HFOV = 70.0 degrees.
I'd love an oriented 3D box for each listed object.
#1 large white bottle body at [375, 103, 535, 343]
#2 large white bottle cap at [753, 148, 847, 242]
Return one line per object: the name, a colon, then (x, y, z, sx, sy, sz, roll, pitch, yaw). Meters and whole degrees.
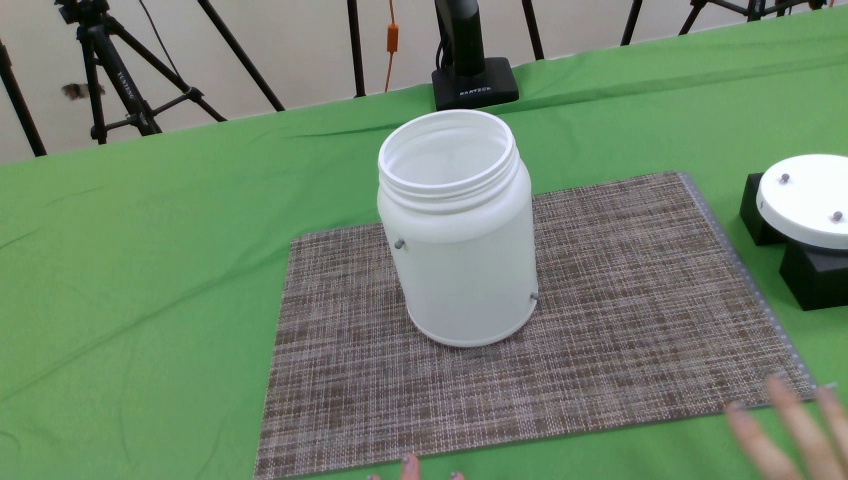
large white bottle body: (0.030, -0.013, 0.534, 0.130, 0.186, 0.129, -7, 43, 7)
large white bottle cap: (0.358, -0.043, 0.539, 0.115, 0.018, 0.113, -7, 42, 7)
